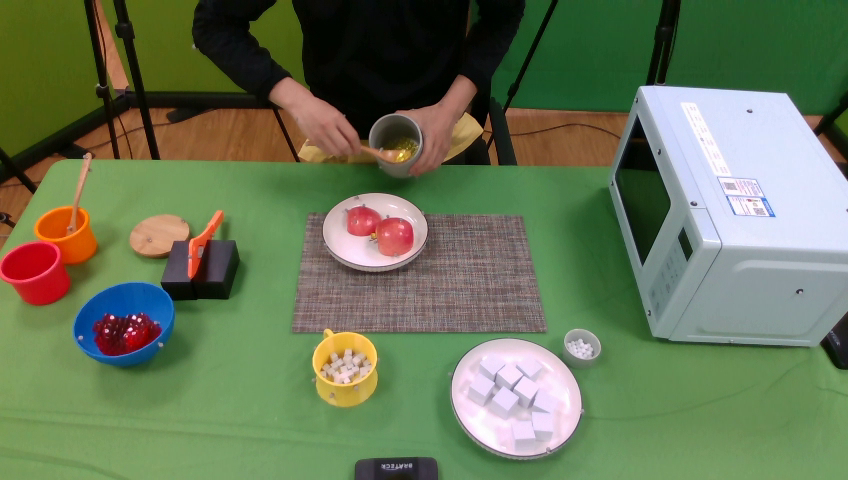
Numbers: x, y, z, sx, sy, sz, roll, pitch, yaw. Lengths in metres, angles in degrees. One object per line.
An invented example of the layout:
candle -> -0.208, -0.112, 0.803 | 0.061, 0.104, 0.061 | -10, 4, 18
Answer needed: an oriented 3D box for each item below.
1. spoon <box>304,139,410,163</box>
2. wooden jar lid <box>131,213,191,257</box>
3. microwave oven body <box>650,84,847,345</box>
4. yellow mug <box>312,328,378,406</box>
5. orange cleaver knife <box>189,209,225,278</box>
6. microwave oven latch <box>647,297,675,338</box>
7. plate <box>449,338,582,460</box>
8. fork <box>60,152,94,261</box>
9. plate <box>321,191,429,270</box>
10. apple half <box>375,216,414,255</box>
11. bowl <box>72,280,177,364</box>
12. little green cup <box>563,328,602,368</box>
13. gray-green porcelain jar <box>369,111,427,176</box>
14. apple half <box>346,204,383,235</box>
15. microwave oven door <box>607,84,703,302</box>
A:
spoon -> -0.121, -0.167, 1.108 | 0.194, 0.022, 0.041 | 10, 39, -11
wooden jar lid -> -0.504, -0.008, 1.167 | 0.108, 0.021, 0.107 | 3, 46, -3
microwave oven body -> 0.569, -0.054, 1.116 | 0.326, 0.261, 0.439 | 2, 46, -1
yellow mug -> -0.132, 0.193, 0.971 | 0.100, 0.064, 0.130 | -22, 51, -22
orange cleaver knife -> -0.401, 0.002, 1.122 | 0.012, 0.077, 0.210 | 3, 22, -4
microwave oven latch -> 0.413, 0.133, 1.060 | 0.030, 0.029, 0.078 | 5, 46, 2
plate -> 0.141, 0.251, 0.956 | 0.208, 0.039, 0.206 | 2, 46, -2
fork -> -0.638, -0.063, 1.119 | 0.028, 0.018, 0.207 | 12, 90, 8
plate -> -0.094, -0.015, 1.185 | 0.209, 0.038, 0.208 | 2, 46, -2
apple half -> -0.056, -0.017, 1.169 | 0.075, 0.053, 0.080 | 0, 46, -7
bowl -> -0.473, 0.147, 0.982 | 0.151, 0.077, 0.150 | 2, 46, -2
little green cup -> 0.265, 0.184, 1.025 | 0.061, 0.039, 0.061 | 1, 46, -1
gray-green porcelain jar -> -0.050, -0.189, 1.219 | 0.106, 0.126, 0.105 | 0, 84, 4
apple half -> -0.119, -0.049, 1.207 | 0.081, 0.033, 0.081 | 2, 50, -2
microwave oven door -> 0.424, -0.096, 1.138 | 0.039, 0.245, 0.353 | 3, 46, -1
